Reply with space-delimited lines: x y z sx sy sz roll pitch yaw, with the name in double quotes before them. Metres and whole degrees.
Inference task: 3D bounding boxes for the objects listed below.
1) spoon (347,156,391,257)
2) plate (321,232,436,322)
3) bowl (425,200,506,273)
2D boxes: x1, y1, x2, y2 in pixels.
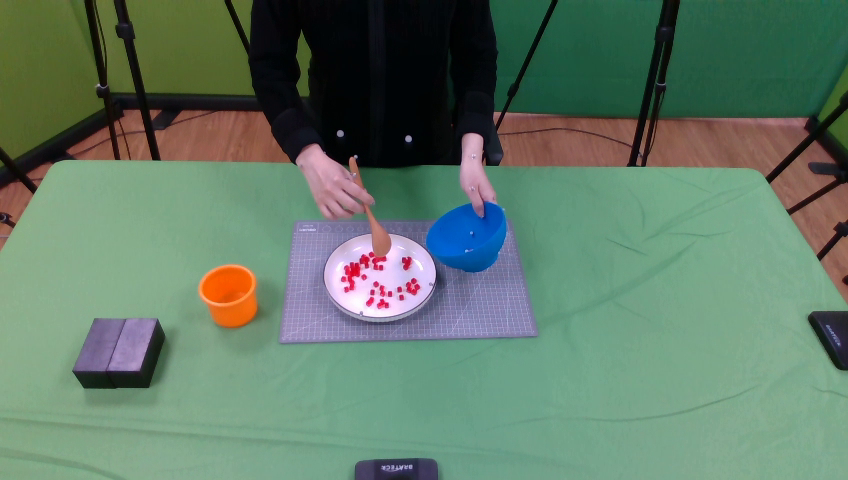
"spoon" -0.099 -0.055 1.048 0.041 0.194 0.021 -31 25 -25
"plate" -0.083 0.070 1.109 0.209 0.038 0.208 3 46 -3
"bowl" 0.085 0.005 1.083 0.151 0.077 0.150 -19 33 13
